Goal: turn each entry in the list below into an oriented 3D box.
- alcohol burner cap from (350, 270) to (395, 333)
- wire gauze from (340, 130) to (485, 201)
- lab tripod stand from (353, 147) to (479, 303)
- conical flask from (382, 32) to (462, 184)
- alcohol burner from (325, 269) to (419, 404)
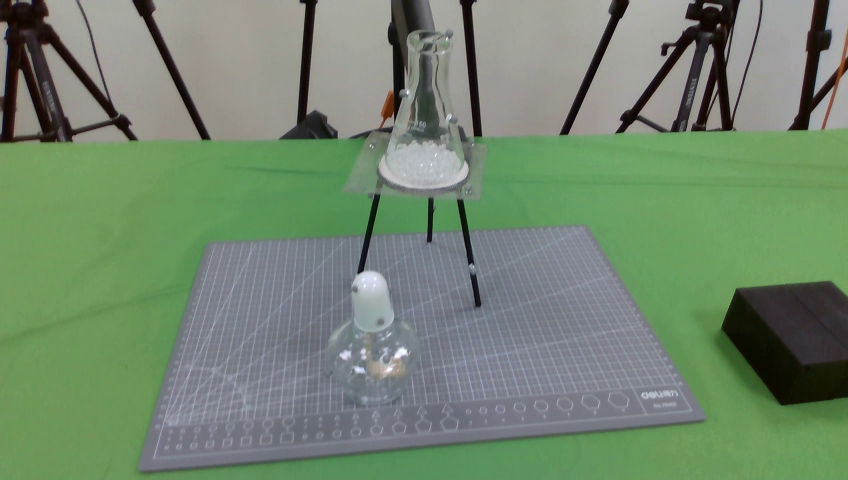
[{"bbox_3d":[-0.041,0.046,0.471,0.034,0.048,0.033,-3,38,3],"label":"alcohol burner cap"},{"bbox_3d":[-0.005,-0.070,0.571,0.121,0.011,0.124,6,37,5],"label":"wire gauze"},{"bbox_3d":[-0.001,-0.015,0.608,0.148,0.132,0.147,3,34,-2],"label":"lab tripod stand"},{"bbox_3d":[0.000,-0.117,0.534,0.075,0.123,0.074,2,35,-1],"label":"conical flask"},{"bbox_3d":[-0.043,0.075,0.492,0.078,0.120,0.077,1,33,0],"label":"alcohol burner"}]
